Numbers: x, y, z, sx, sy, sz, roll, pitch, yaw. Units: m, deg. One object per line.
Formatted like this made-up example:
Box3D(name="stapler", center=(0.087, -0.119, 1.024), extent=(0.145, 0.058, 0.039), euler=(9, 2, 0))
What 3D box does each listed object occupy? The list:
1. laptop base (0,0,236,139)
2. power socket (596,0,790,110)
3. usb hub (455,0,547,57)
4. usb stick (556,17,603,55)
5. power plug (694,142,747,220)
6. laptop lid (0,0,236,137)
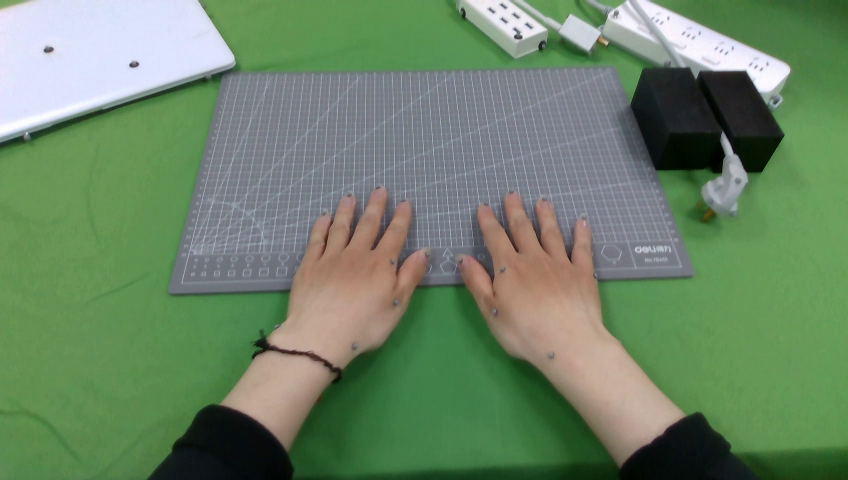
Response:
Box3D(name="laptop base", center=(-0.420, -0.208, 0.690), extent=(0.355, 0.023, 0.233), euler=(-25, 60, -19))
Box3D(name="power socket", center=(0.311, -0.222, 0.706), extent=(0.225, 0.033, 0.072), euler=(38, 60, 25))
Box3D(name="usb hub", center=(0.092, -0.273, 0.747), extent=(0.049, 0.025, 0.124), euler=(-27, 57, -20))
Box3D(name="usb stick", center=(0.189, -0.241, 0.723), extent=(0.059, 0.027, 0.021), euler=(27, 11, 2))
Box3D(name="power plug", center=(0.278, -0.051, 0.567), extent=(0.035, 0.053, 0.072), euler=(37, 44, 1))
Box3D(name="laptop lid", center=(-0.419, -0.213, 0.679), extent=(0.357, 0.013, 0.239), euler=(-24, 59, -18))
